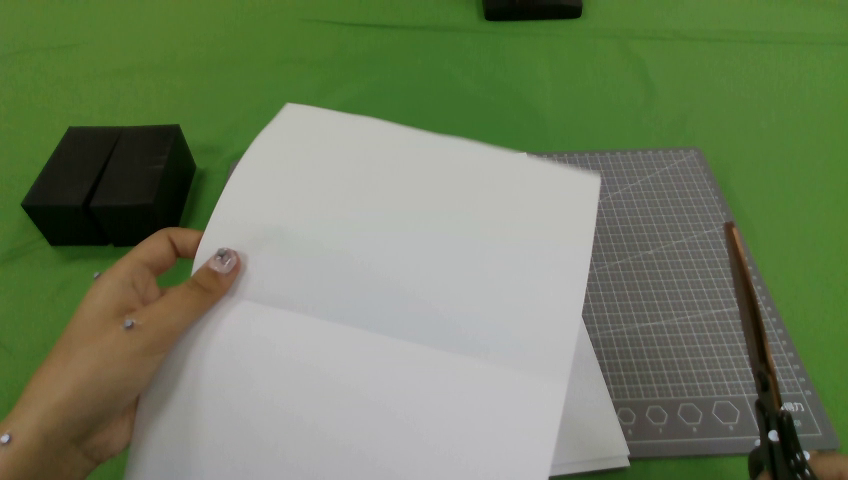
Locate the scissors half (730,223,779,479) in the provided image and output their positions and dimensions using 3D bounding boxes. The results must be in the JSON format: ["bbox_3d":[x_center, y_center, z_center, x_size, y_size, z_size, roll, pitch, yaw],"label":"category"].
[{"bbox_3d":[0.161,0.076,0.288,0.013,0.176,0.040,-13,12,9],"label":"scissors half"}]

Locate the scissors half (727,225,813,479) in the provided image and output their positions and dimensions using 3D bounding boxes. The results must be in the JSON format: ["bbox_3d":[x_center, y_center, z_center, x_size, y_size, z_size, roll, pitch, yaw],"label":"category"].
[{"bbox_3d":[0.158,0.078,0.268,0.013,0.040,0.175,-14,86,4],"label":"scissors half"}]
